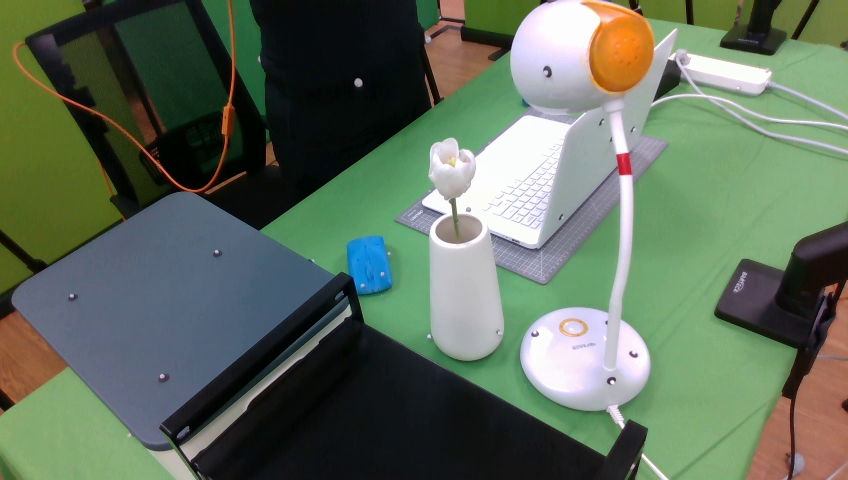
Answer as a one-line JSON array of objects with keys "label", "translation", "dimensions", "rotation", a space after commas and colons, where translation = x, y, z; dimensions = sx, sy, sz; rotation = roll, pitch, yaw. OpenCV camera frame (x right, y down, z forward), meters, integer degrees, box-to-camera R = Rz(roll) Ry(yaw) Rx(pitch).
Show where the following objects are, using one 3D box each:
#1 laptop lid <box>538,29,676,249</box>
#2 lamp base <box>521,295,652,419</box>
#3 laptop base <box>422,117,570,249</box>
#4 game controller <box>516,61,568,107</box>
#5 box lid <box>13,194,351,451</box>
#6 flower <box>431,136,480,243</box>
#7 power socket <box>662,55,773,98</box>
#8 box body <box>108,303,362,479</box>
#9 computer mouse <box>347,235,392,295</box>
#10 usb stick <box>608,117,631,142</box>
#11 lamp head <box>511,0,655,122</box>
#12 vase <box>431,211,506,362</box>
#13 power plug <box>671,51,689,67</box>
[{"label": "laptop lid", "translation": [0.288, -0.159, 0.939], "dimensions": [0.013, 0.242, 0.358], "rotation": [31, 51, 24]}, {"label": "lamp base", "translation": [0.200, 0.095, 0.710], "dimensions": [0.161, 0.181, 0.177], "rotation": [-16, 43, -10]}, {"label": "laptop base", "translation": [0.192, -0.116, 1.087], "dimensions": [0.233, 0.023, 0.355], "rotation": [21, 48, 34]}, {"label": "game controller", "translation": [0.259, -0.352, 1.336], "dimensions": [0.097, 0.052, 0.154], "rotation": [-3, 41, 2]}, {"label": "box lid", "translation": [-0.292, 0.067, 0.717], "dimensions": [0.368, 0.015, 0.264], "rotation": [25, 50, 33]}, {"label": "flower", "translation": [0.041, 0.011, 0.691], "dimensions": [0.044, 0.363, 0.038], "rotation": [16, 62, 14]}, {"label": "power socket", "translation": [0.619, -0.352, 1.289], "dimensions": [0.225, 0.033, 0.072], "rotation": [26, 51, 33]}, {"label": "box body", "translation": [-0.285, 0.123, 0.766], "dimensions": [0.361, 0.161, 0.255], "rotation": [25, 49, 33]}, {"label": "computer mouse", "translation": [-0.086, 0.034, 0.936], "dimensions": [0.063, 0.041, 0.116], "rotation": [-8, 45, -5]}, {"label": "usb stick", "translation": [0.370, -0.207, 1.147], "dimensions": [0.021, 0.027, 0.059], "rotation": [27, 55, 32]}, {"label": "lamp head", "translation": [0.155, -0.168, 0.564], "dimensions": [0.113, 0.113, 0.122], "rotation": [-18, 23, -12]}, {"label": "vase", "translation": [0.054, 0.062, 0.757], "dimensions": [0.098, 0.201, 0.097], "rotation": [-3, 40, 3]}, {"label": "power plug", "translation": [0.541, -0.378, 1.301], "dimensions": [0.073, 0.053, 0.035], "rotation": [-33, 46, -24]}]
